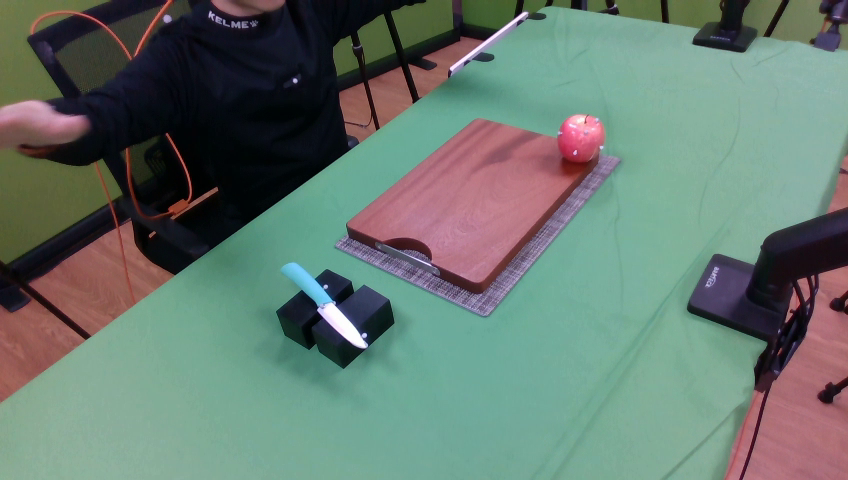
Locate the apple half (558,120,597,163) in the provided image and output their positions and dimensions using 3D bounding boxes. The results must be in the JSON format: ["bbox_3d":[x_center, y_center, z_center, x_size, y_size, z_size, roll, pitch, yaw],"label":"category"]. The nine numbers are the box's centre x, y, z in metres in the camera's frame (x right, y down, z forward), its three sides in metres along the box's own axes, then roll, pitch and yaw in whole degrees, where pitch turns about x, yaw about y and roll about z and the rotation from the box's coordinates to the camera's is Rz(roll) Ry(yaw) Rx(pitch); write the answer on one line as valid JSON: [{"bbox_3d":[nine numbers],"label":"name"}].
[{"bbox_3d":[0.255,-0.163,1.037,0.033,0.081,0.080,-33,46,-31],"label":"apple half"}]

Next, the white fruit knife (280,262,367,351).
[{"bbox_3d":[-0.136,0.087,0.820,0.027,0.016,0.205,-47,53,-6],"label":"white fruit knife"}]

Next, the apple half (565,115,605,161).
[{"bbox_3d":[0.284,-0.181,1.057,0.053,0.075,0.080,-32,44,-31],"label":"apple half"}]
